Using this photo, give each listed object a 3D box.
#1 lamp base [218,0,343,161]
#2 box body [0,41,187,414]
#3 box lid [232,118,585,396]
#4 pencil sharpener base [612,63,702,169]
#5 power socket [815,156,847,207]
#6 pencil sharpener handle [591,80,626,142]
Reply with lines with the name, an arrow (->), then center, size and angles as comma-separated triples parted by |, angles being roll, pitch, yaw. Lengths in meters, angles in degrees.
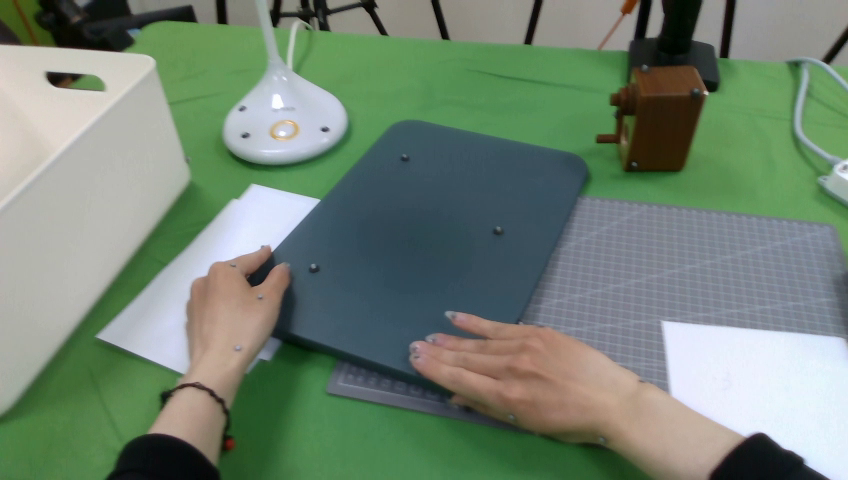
lamp base -> -0.194, -0.217, 0.743 | 0.161, 0.182, 0.177 | -14, 43, -10
box body -> -0.433, -0.029, 0.585 | 0.253, 0.162, 0.361 | 7, 46, 11
box lid -> 0.001, -0.014, 0.641 | 0.262, 0.015, 0.369 | 15, 46, 20
pencil sharpener base -> 0.257, -0.138, 0.687 | 0.076, 0.108, 0.061 | -1, 45, 4
power socket -> 0.510, -0.020, 0.605 | 0.072, 0.033, 0.224 | -22, 47, -18
pencil sharpener handle -> 0.205, -0.143, 0.677 | 0.030, 0.068, 0.036 | -1, 24, 4
